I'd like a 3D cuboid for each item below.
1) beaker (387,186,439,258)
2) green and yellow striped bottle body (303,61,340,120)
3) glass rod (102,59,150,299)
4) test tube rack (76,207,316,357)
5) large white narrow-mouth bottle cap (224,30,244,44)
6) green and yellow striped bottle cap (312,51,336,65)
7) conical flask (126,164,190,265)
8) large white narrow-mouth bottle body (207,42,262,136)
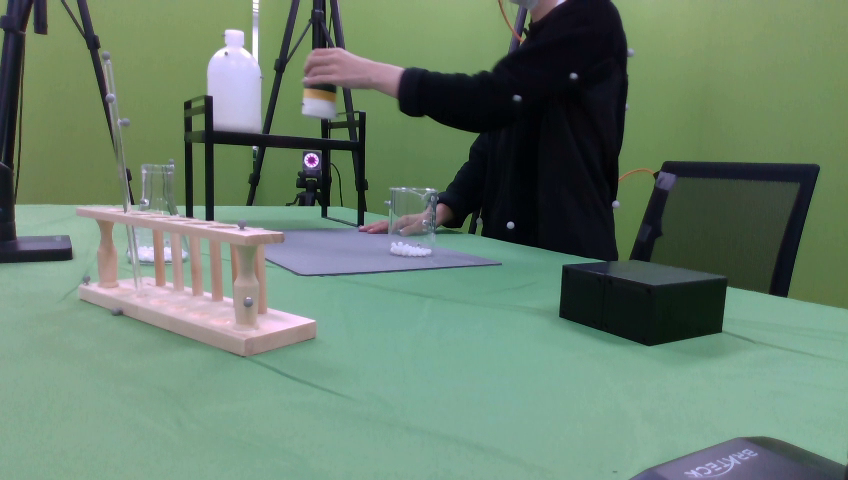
[{"bbox_3d":[-0.015,-0.027,0.885,0.074,0.100,0.083,-1,8,-20],"label":"beaker"},{"bbox_3d":[-0.195,-0.293,1.154,0.063,0.119,0.063,6,7,0],"label":"green and yellow striped bottle body"},{"bbox_3d":[-0.243,-0.045,0.496,0.008,0.199,0.008,-4,13,1],"label":"glass rod"},{"bbox_3d":[-0.196,0.023,0.500,0.241,0.085,0.067,8,9,36],"label":"test tube rack"},{"bbox_3d":[-0.365,-0.389,1.165,0.038,0.024,0.037,2,9,0],"label":"large white narrow-mouth bottle cap"},{"bbox_3d":[-0.190,-0.344,1.147,0.045,0.020,0.045,8,6,0],"label":"green and yellow striped bottle cap"},{"bbox_3d":[-0.332,-0.033,0.756,0.075,0.122,0.075,2,7,0],"label":"conical flask"},{"bbox_3d":[-0.369,-0.303,1.180,0.102,0.194,0.101,2,9,0],"label":"large white narrow-mouth bottle body"}]
